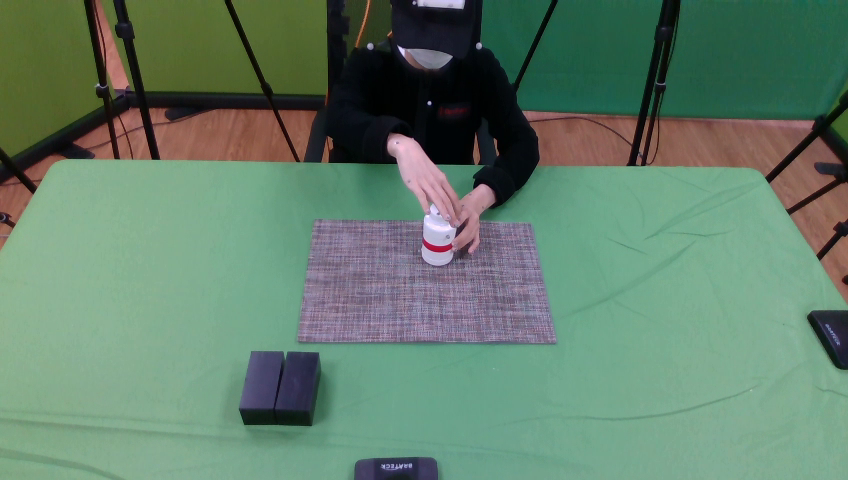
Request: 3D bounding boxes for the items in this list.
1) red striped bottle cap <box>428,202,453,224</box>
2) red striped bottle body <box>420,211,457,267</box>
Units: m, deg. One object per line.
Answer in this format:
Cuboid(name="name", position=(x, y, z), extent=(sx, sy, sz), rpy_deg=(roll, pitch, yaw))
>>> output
Cuboid(name="red striped bottle cap", position=(0.030, -0.050, 1.099), extent=(0.044, 0.018, 0.044), rpy_deg=(1, 44, -1))
Cuboid(name="red striped bottle body", position=(0.027, -0.011, 1.139), extent=(0.063, 0.120, 0.062), rpy_deg=(2, 45, -2))
